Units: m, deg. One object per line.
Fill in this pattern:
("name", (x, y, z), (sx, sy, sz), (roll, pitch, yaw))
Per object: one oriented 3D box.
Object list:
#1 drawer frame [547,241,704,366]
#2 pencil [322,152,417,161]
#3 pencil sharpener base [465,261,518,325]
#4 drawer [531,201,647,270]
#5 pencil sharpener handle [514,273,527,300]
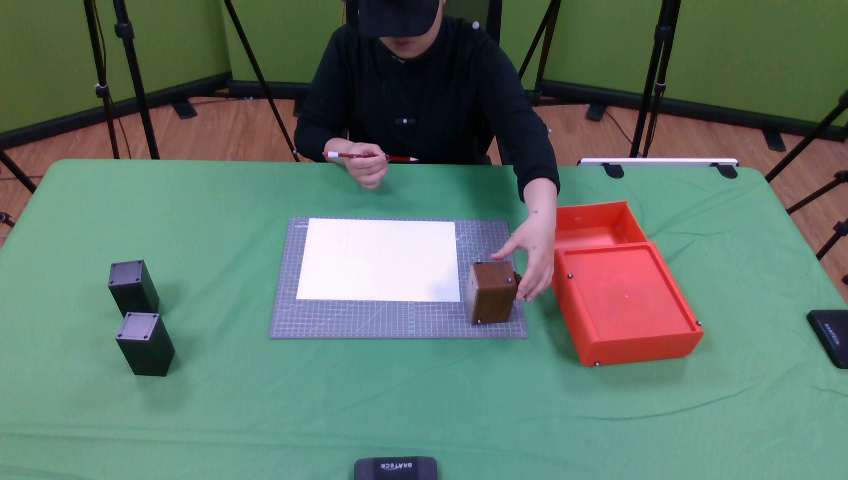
("drawer frame", (0.348, 0.106, 1.077), (0.202, 0.083, 0.212), (-4, 47, -9))
("pencil", (-0.110, -0.168, 1.232), (0.194, 0.012, 0.012), (3, 45, -2))
("pencil sharpener base", (0.117, 0.093, 1.052), (0.077, 0.107, 0.061), (-3, 46, -7))
("drawer", (0.329, 0.025, 1.159), (0.195, 0.073, 0.210), (-4, 47, -9))
("pencil sharpener handle", (0.169, 0.081, 1.050), (0.031, 0.068, 0.035), (-3, 48, -7))
